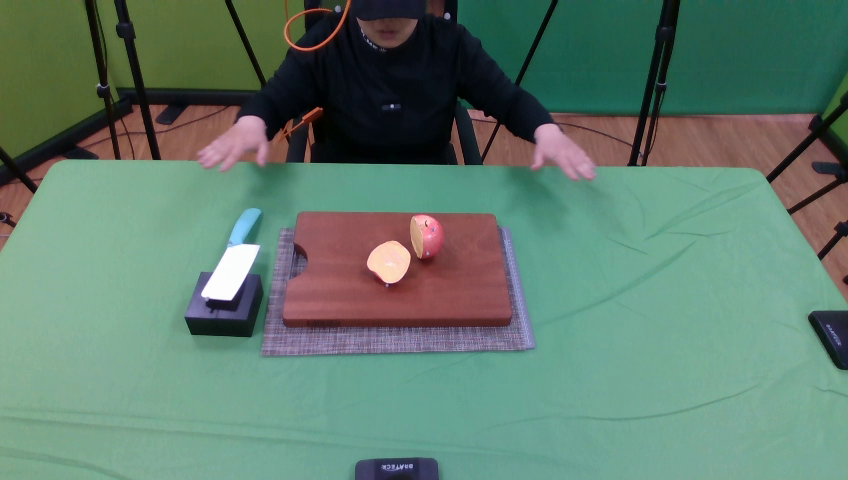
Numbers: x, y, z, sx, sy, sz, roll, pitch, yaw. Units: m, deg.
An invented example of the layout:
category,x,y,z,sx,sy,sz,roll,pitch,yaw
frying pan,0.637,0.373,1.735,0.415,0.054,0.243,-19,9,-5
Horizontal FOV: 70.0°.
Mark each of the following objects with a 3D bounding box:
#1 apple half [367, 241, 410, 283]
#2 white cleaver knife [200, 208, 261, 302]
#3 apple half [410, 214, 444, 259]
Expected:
category,x,y,z,sx,sy,sz,roll,pitch,yaw
apple half,-0.059,0.043,1.100,0.081,0.033,0.081,-3,67,7
white cleaver knife,-0.338,0.024,1.116,0.066,0.021,0.285,6,35,-3
apple half,0.009,-0.007,1.131,0.053,0.075,0.080,-8,43,-17
